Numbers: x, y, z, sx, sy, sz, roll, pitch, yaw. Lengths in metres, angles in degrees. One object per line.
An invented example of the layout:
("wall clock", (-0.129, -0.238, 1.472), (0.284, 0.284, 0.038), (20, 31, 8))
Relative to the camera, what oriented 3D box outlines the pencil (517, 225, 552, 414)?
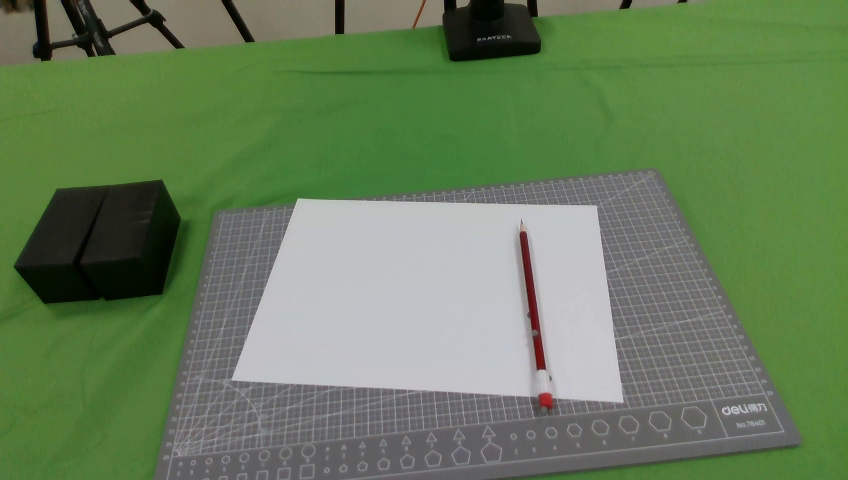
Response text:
("pencil", (0.089, 0.055, 0.503), (0.012, 0.012, 0.192), (-2, 46, 2))
